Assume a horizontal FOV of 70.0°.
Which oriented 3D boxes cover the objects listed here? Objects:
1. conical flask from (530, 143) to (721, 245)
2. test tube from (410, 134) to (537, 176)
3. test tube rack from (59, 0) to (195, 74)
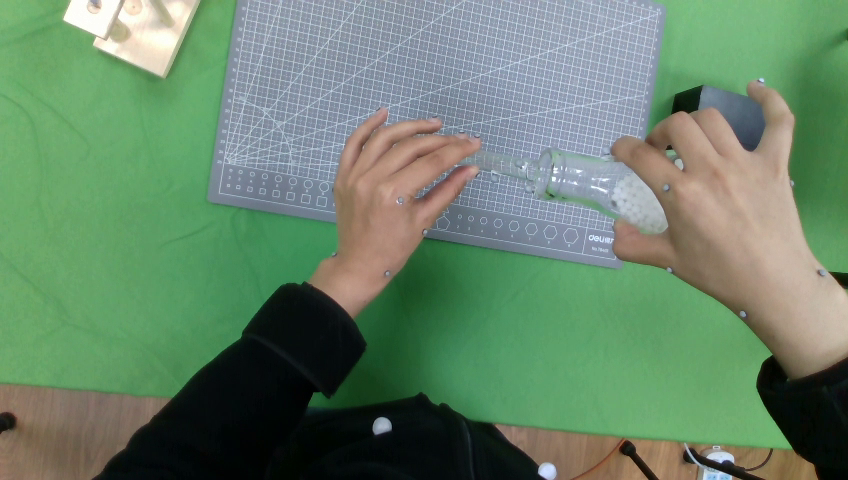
[{"bbox_3d":[0.140,-0.041,0.433,0.122,0.075,0.075,9,91,-11],"label":"conical flask"},{"bbox_3d":[0.034,-0.071,0.493,0.017,0.149,0.017,-13,112,-33],"label":"test tube"},{"bbox_3d":[-0.224,-0.279,0.533,0.067,0.085,0.242,23,88,-12],"label":"test tube rack"}]
